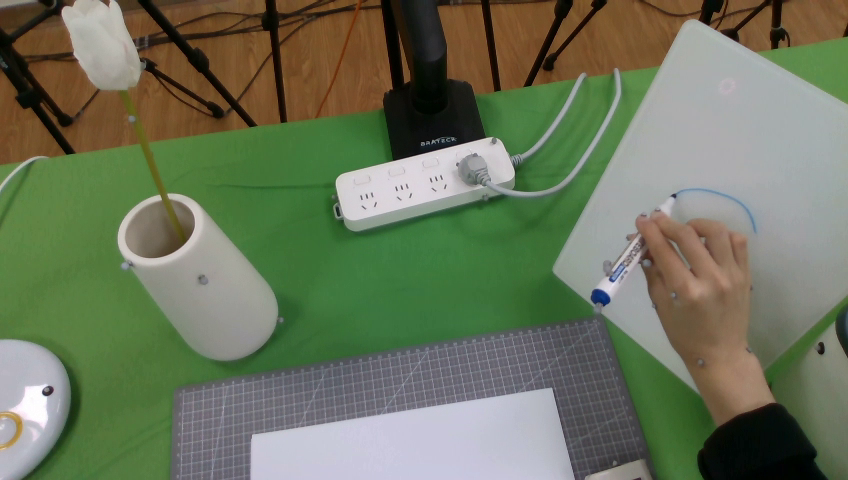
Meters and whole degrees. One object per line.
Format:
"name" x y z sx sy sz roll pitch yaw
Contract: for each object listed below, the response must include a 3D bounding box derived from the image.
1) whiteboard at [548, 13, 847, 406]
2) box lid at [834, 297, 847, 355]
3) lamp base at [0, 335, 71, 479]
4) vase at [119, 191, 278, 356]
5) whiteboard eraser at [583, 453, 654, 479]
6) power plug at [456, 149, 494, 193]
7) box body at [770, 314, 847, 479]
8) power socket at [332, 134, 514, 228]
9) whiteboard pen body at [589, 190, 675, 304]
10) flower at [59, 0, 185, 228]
"whiteboard" 0.289 -0.031 0.564 0.144 0.307 0.215 -29 61 -35
"box lid" 0.472 0.178 0.397 0.263 0.015 0.368 -10 61 -4
"lamp base" -0.451 0.127 0.542 0.178 0.182 0.160 19 62 16
"vase" -0.208 0.037 0.572 0.098 0.202 0.097 -2 60 3
"whiteboard eraser" 0.184 0.247 0.523 0.055 0.042 0.111 -14 60 -7
"power plug" 0.056 -0.072 0.692 0.035 0.053 0.072 -6 62 0
"box body" 0.475 0.217 0.461 0.254 0.162 0.360 -10 60 -3
"power socket" 0.000 -0.071 0.721 0.227 0.033 0.071 -14 61 -6
"whiteboard pen body" 0.174 0.000 0.494 0.017 0.017 0.140 33 59 20
"flower" -0.208 -0.021 0.510 0.038 0.365 0.043 -20 43 -16
